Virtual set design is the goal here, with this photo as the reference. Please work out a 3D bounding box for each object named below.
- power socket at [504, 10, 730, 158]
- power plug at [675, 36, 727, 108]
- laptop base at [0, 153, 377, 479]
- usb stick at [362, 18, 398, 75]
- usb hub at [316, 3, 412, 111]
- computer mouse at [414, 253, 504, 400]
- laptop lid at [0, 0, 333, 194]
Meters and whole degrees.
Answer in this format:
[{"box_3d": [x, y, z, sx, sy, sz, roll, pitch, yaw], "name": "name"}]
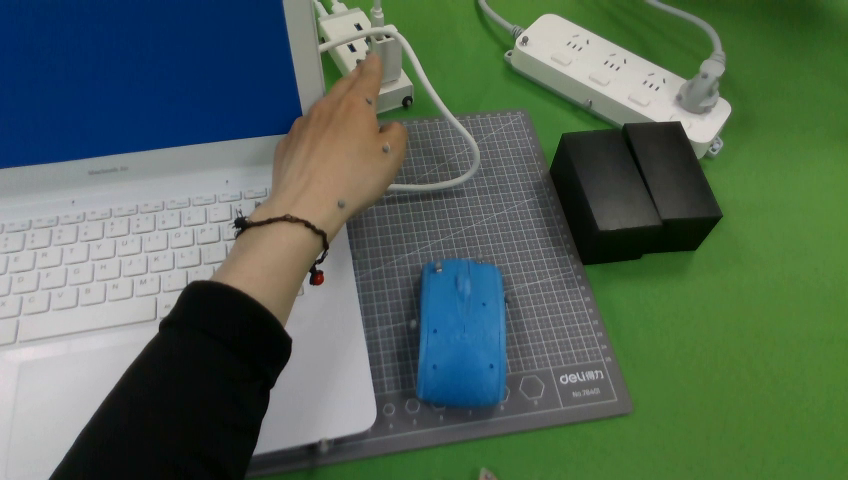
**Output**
[{"box_3d": [0.185, -0.155, 0.586, 0.225, 0.033, 0.072, 34, 61, 17], "name": "power socket"}, {"box_3d": [0.262, -0.146, 0.559, 0.072, 0.053, 0.035, -37, 65, -22], "name": "power plug"}, {"box_3d": [-0.225, 0.051, 0.435, 0.355, 0.023, 0.233, -9, 61, -9], "name": "laptop base"}, {"box_3d": [-0.039, -0.170, 0.547, 0.027, 0.059, 0.021, -32, 73, -14], "name": "usb stick"}, {"box_3d": [-0.061, -0.181, 0.591, 0.049, 0.025, 0.124, -22, 61, -17], "name": "usb hub"}, {"box_3d": [0.026, 0.057, 0.435, 0.063, 0.041, 0.116, 3, 53, 1], "name": "computer mouse"}, {"box_3d": [-0.251, -0.133, 0.415, 0.357, 0.244, 0.013, -10, 44, -8], "name": "laptop lid"}]
